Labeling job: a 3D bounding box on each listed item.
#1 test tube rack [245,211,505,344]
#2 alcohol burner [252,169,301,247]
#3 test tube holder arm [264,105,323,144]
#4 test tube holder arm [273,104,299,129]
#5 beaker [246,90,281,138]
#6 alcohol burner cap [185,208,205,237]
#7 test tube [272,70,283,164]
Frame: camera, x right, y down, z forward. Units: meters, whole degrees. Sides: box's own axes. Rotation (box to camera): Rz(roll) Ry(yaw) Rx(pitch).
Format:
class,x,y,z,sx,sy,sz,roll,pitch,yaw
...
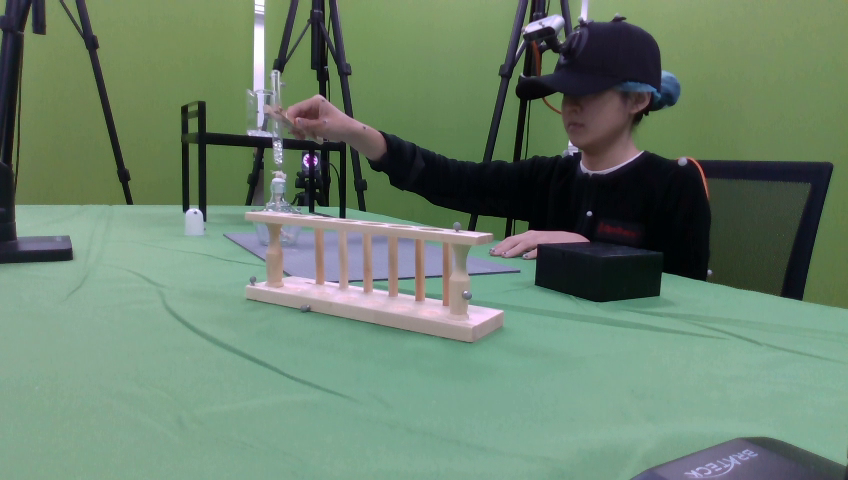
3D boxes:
class,x,y,z,sx,sy,sz,roll,pitch,yaw
test tube rack,-0.049,0.025,0.547,0.241,0.085,0.067,7,8,29
alcohol burner,-0.228,-0.050,0.936,0.078,0.119,0.078,1,8,0
test tube holder arm,-0.214,-0.190,1.009,0.013,0.015,0.179,-2,-7,16
test tube holder arm,-0.219,-0.196,0.965,0.010,0.015,0.088,-1,-7,8
beaker,-0.354,-0.275,1.322,0.074,0.100,0.084,4,8,12
alcohol burner cap,-0.391,-0.031,1.032,0.034,0.048,0.034,3,8,0
test tube,-0.229,-0.192,0.942,0.017,0.150,0.017,-3,-8,0
